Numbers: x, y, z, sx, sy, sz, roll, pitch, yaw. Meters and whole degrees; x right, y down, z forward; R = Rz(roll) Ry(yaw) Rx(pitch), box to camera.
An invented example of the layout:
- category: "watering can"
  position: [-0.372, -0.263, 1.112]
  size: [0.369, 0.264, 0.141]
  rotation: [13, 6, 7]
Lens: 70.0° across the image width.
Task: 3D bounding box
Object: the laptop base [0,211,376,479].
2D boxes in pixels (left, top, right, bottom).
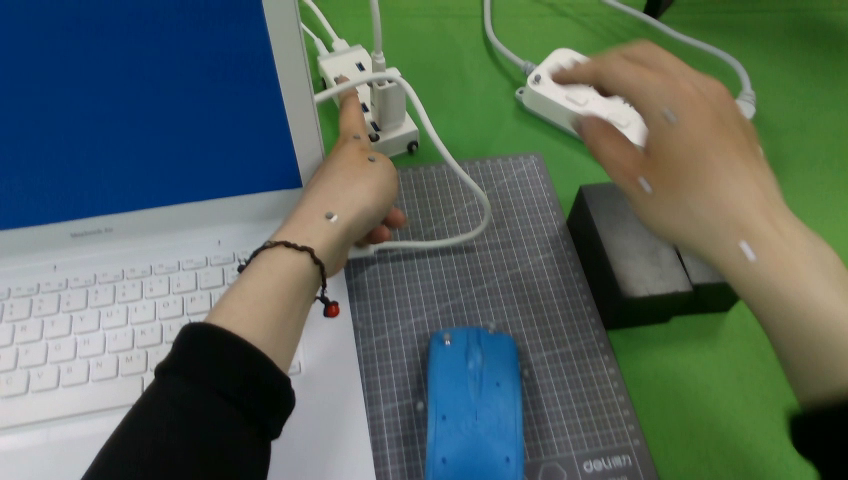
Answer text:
- category: "laptop base"
  position: [-0.221, 0.103, 0.402]
  size: [0.355, 0.023, 0.233]
  rotation: [-9, 61, -8]

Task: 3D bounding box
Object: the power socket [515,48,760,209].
- category: "power socket"
  position: [0.190, -0.105, 0.548]
  size: [0.225, 0.033, 0.072]
  rotation: [34, 61, 19]

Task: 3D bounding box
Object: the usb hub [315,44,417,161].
- category: "usb hub"
  position: [-0.055, -0.129, 0.557]
  size: [0.049, 0.025, 0.124]
  rotation: [-22, 60, -16]

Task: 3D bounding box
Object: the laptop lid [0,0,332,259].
- category: "laptop lid"
  position: [-0.248, -0.080, 0.381]
  size: [0.357, 0.244, 0.013]
  rotation: [-10, 44, -7]

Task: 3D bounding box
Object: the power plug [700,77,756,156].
- category: "power plug"
  position: [0.267, -0.097, 0.519]
  size: [0.072, 0.053, 0.035]
  rotation: [-37, 63, -21]

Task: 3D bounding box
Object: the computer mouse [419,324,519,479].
- category: "computer mouse"
  position: [0.030, 0.105, 0.396]
  size: [0.063, 0.041, 0.116]
  rotation: [2, 52, 2]

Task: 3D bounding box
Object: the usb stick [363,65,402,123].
- category: "usb stick"
  position: [-0.035, -0.119, 0.513]
  size: [0.027, 0.059, 0.021]
  rotation: [-32, 72, -14]
